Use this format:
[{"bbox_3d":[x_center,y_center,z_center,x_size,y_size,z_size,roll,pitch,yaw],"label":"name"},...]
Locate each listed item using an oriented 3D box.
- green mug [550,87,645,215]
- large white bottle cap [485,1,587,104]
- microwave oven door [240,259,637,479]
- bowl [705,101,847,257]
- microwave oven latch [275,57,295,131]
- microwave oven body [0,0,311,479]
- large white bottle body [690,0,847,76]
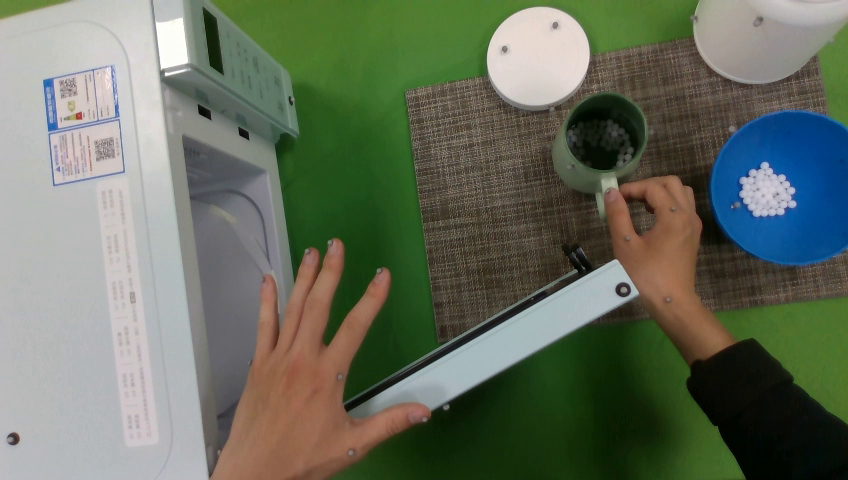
[{"bbox_3d":[0.182,-0.088,0.628,0.092,0.105,0.125,-10,86,8],"label":"green mug"},{"bbox_3d":[0.126,-0.212,0.686,0.114,0.018,0.114,-1,86,9],"label":"large white bottle cap"},{"bbox_3d":[0.015,0.120,0.563,0.356,0.244,0.039,-32,82,6],"label":"microwave oven door"},{"bbox_3d":[0.356,-0.056,0.612,0.151,0.077,0.151,-1,87,10],"label":"bowl"},{"bbox_3d":[-0.171,-0.169,0.707,0.030,0.029,0.079,-9,87,8],"label":"microwave oven latch"},{"bbox_3d":[-0.303,0.025,0.622,0.326,0.261,0.441,-10,86,8],"label":"microwave oven body"},{"bbox_3d":[0.339,-0.249,0.569,0.130,0.185,0.130,-1,83,10],"label":"large white bottle body"}]
